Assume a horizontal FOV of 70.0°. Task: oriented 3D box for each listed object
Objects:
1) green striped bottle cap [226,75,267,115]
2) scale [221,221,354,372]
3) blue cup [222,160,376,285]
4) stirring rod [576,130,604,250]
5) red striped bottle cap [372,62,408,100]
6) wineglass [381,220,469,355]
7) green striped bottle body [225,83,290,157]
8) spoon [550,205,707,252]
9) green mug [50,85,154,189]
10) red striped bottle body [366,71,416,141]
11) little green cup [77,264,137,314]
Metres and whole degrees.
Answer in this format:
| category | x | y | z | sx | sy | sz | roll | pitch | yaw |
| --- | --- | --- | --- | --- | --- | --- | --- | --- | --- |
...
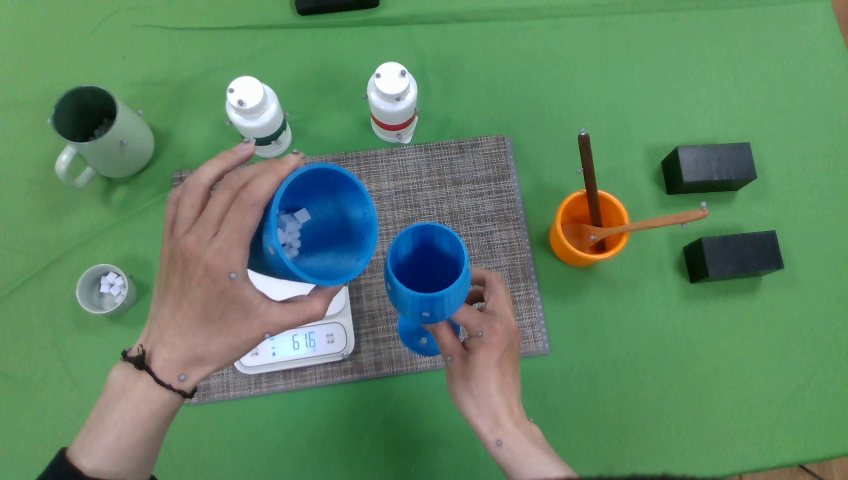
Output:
| category | x | y | z | sx | sy | sz | roll | pitch | yaw |
| --- | --- | --- | --- | --- | --- | --- | --- | --- | --- |
| green striped bottle cap | -0.209 | -0.171 | 0.714 | 0.044 | 0.020 | 0.044 | 0 | 76 | 0 |
| scale | -0.172 | 0.056 | 0.759 | 0.149 | 0.032 | 0.200 | -8 | 77 | -4 |
| blue cup | -0.099 | -0.009 | 0.446 | 0.093 | 0.099 | 0.092 | 4 | 84 | -42 |
| stirring rod | 0.205 | -0.056 | 0.745 | 0.014 | 0.178 | 0.006 | 2 | 41 | 28 |
| red striped bottle cap | -0.041 | -0.192 | 0.729 | 0.044 | 0.018 | 0.044 | 1 | 73 | -1 |
| wineglass | 0.002 | 0.049 | 0.535 | 0.074 | 0.173 | 0.073 | 0 | 65 | 1 |
| green striped bottle body | -0.211 | -0.156 | 0.768 | 0.063 | 0.119 | 0.063 | 1 | 76 | -2 |
| spoon | 0.243 | -0.016 | 0.738 | 0.022 | 0.193 | 0.041 | -2 | 82 | -47 |
| green mug | -0.409 | -0.120 | 0.759 | 0.092 | 0.105 | 0.125 | 27 | 76 | 4 |
| red striped bottle body | -0.042 | -0.179 | 0.781 | 0.063 | 0.120 | 0.062 | 1 | 76 | -2 |
| little green cup | -0.388 | 0.062 | 0.748 | 0.061 | 0.039 | 0.061 | 1 | 76 | -3 |
